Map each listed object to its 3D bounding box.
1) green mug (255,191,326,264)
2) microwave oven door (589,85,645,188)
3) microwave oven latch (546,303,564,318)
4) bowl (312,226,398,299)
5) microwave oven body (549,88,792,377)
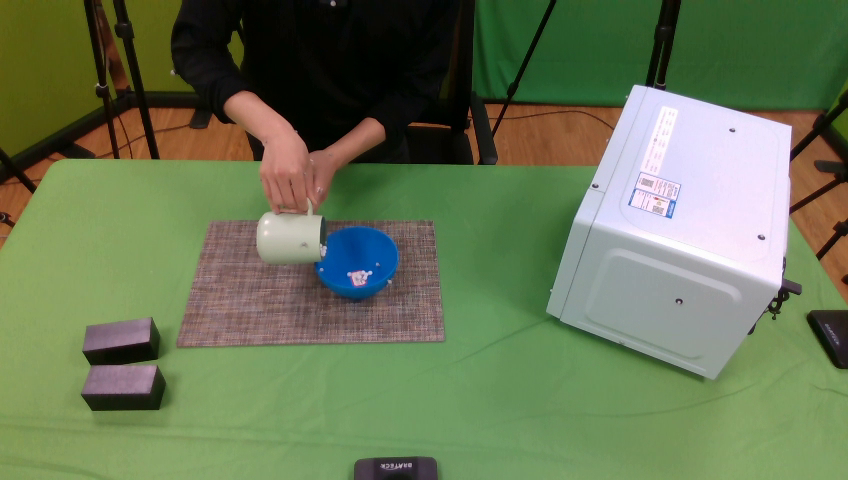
[{"bbox_3d":[-0.226,-0.020,1.027,0.105,0.125,0.092,1,17,0],"label":"green mug"},{"bbox_3d":[0.342,-0.107,1.149,0.039,0.245,0.354,20,48,15],"label":"microwave oven door"},{"bbox_3d":[0.242,0.102,1.081,0.030,0.029,0.079,21,48,17],"label":"microwave oven latch"},{"bbox_3d":[-0.121,0.054,1.090,0.151,0.077,0.150,1,46,-1],"label":"bowl"},{"bbox_3d":[0.456,-0.028,1.088,0.325,0.261,0.440,20,47,16],"label":"microwave oven body"}]
